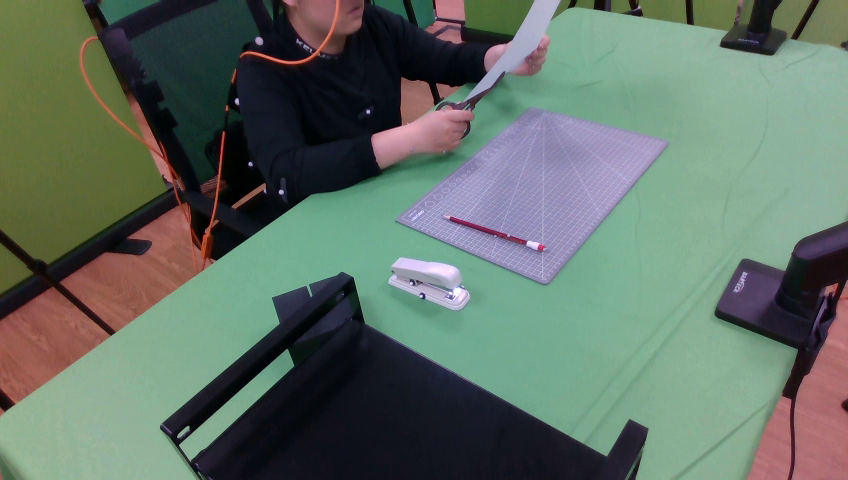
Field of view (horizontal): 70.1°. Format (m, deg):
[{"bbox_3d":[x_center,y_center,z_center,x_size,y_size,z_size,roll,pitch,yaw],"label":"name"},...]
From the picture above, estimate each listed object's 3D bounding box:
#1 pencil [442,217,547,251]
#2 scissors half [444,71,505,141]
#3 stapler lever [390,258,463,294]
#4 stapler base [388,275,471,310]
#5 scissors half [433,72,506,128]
[{"bbox_3d":[0.110,-0.012,0.979,0.192,0.012,0.012,18,46,30],"label":"pencil"},{"bbox_3d":[0.096,-0.249,1.133,0.040,0.175,0.013,39,35,-3],"label":"scissors half"},{"bbox_3d":[0.003,0.046,0.881,0.117,0.040,0.027,17,44,29],"label":"stapler lever"},{"bbox_3d":[0.007,0.066,0.897,0.129,0.024,0.041,17,44,29],"label":"stapler base"},{"bbox_3d":[0.083,-0.264,1.131,0.174,0.040,0.013,-27,11,32],"label":"scissors half"}]
